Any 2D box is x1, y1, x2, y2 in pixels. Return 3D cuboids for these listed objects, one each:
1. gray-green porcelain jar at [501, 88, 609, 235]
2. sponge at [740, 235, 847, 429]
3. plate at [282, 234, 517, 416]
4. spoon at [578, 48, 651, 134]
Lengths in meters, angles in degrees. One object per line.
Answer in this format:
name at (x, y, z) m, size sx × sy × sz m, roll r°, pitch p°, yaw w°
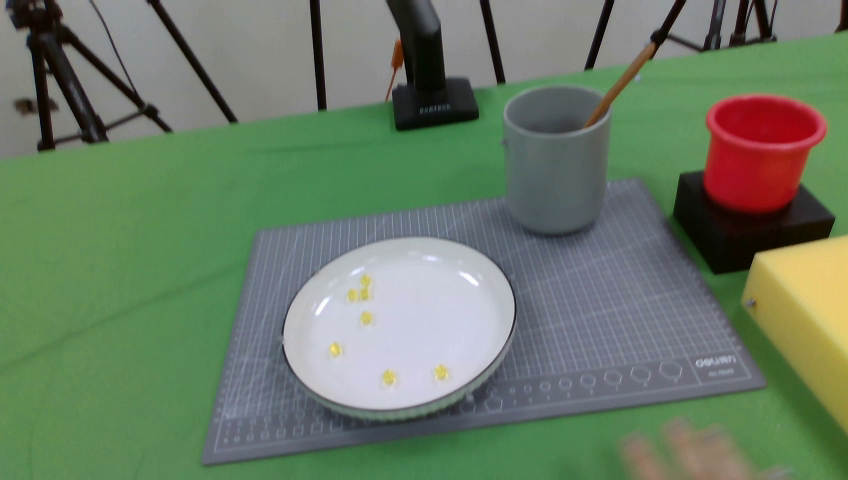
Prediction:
gray-green porcelain jar at (0.135, -0.077, 0.630) m, size 0.106 × 0.128 × 0.105 m, roll -5°, pitch 39°, yaw 5°
sponge at (0.354, 0.083, 0.450) m, size 0.118 × 0.061 × 0.204 m, roll -12°, pitch 38°, yaw -4°
plate at (-0.020, 0.073, 0.545) m, size 0.207 × 0.039 × 0.205 m, roll -5°, pitch 39°, yaw 5°
spoon at (0.160, -0.104, 0.598) m, size 0.022 × 0.194 × 0.041 m, roll 24°, pitch 37°, yaw -4°
